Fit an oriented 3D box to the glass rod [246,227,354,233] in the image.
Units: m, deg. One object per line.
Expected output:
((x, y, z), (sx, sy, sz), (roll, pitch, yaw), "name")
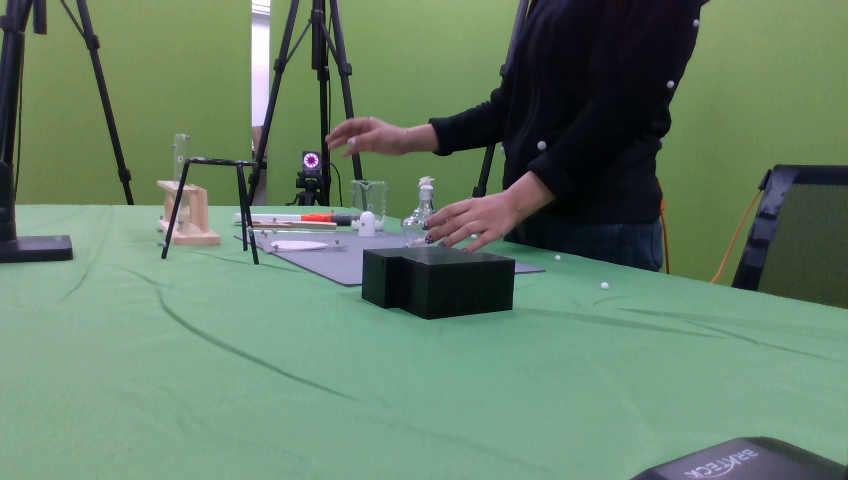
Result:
((-0.224, -0.017, 1.109), (0.201, 0.008, 0.008), (1, 7, -27), "glass rod")

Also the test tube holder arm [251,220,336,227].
((-0.253, -0.031, 1.156), (0.179, 0.015, 0.013), (-2, 43, -30), "test tube holder arm")

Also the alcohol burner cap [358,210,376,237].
((-0.104, -0.030, 1.098), (0.034, 0.048, 0.034), (3, 8, 0), "alcohol burner cap")

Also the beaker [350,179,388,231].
((-0.111, -0.069, 1.204), (0.074, 0.100, 0.084), (2, 8, 0), "beaker")

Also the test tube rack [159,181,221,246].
((-0.395, -0.050, 1.010), (0.067, 0.085, 0.241), (-2, 8, -28), "test tube rack")

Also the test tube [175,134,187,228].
((-0.388, -0.094, 0.964), (0.017, 0.150, 0.017), (1, 2, 0), "test tube")

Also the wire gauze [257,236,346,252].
((-0.189, 0.005, 0.931), (0.122, 0.011, 0.124), (1, 7, -21), "wire gauze")

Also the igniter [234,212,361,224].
((-0.245, -0.045, 1.247), (0.278, 0.025, 0.057), (-1, -3, -25), "igniter")

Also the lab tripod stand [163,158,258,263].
((-0.265, -0.041, 0.802), (0.148, 0.131, 0.148), (4, 7, 0), "lab tripod stand")

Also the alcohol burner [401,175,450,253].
((0.003, -0.040, 0.933), (0.078, 0.119, 0.078), (3, 9, 0), "alcohol burner")

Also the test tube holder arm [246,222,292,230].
((-0.291, -0.026, 1.130), (0.088, 0.015, 0.010), (-1, 42, -29), "test tube holder arm")
